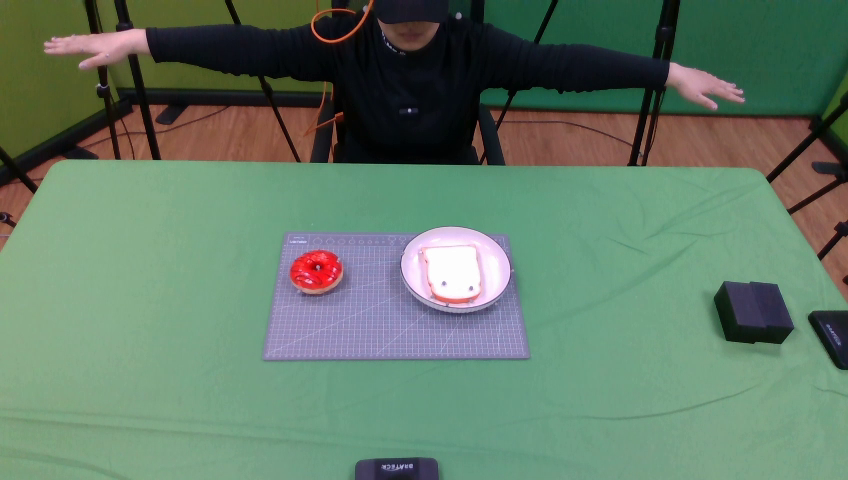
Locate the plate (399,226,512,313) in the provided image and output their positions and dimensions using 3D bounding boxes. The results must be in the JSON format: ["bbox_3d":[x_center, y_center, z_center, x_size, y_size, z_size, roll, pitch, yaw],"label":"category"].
[{"bbox_3d":[0.057,0.057,1.134,0.209,0.038,0.208,2,46,-2],"label":"plate"}]

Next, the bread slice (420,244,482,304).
[{"bbox_3d":[0.055,0.062,1.131,0.107,0.018,0.133,-6,47,-8],"label":"bread slice"}]

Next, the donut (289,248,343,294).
[{"bbox_3d":[-0.197,0.056,1.111,0.099,0.048,0.098,1,45,-1],"label":"donut"}]
